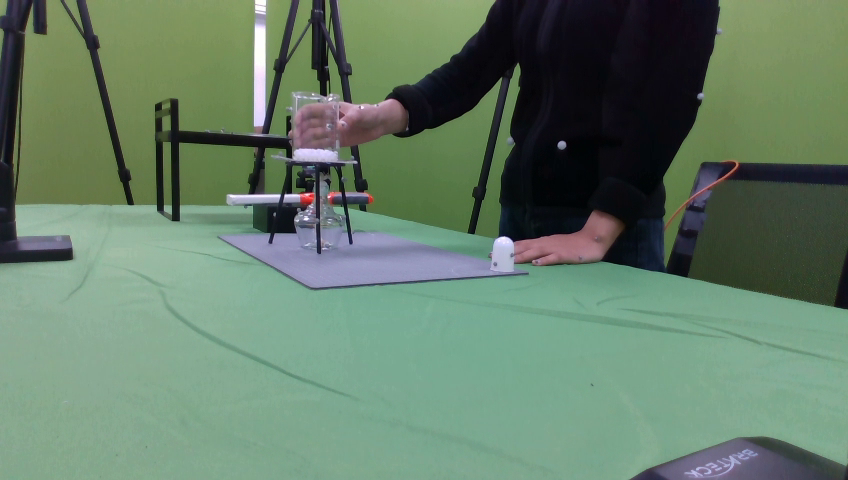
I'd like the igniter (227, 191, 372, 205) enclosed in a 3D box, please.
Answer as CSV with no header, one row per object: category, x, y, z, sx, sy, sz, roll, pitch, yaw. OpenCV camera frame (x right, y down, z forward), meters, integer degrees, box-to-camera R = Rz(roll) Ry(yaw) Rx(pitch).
igniter,-0.232,-0.080,1.161,0.278,0.025,0.057,-3,12,-28

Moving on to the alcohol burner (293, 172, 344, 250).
alcohol burner,-0.159,-0.044,0.921,0.078,0.119,0.078,5,7,0

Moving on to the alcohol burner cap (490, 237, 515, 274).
alcohol burner cap,0.104,0.020,0.793,0.034,0.048,0.034,2,6,0

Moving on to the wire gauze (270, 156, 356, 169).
wire gauze,-0.167,-0.118,0.917,0.125,0.011,0.121,-2,3,-9

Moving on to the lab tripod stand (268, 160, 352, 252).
lab tripod stand,-0.171,-0.055,0.921,0.148,0.131,0.148,1,9,0

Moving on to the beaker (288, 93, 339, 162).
beaker,-0.163,-0.167,0.908,0.074,0.100,0.083,-4,10,-31

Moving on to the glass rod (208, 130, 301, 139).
glass rod,-0.366,-0.231,1.320,0.201,0.008,0.008,-1,8,-30
